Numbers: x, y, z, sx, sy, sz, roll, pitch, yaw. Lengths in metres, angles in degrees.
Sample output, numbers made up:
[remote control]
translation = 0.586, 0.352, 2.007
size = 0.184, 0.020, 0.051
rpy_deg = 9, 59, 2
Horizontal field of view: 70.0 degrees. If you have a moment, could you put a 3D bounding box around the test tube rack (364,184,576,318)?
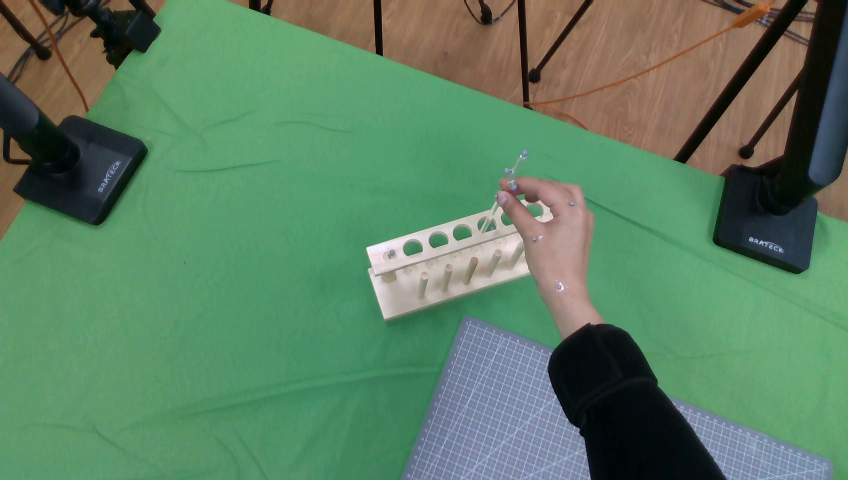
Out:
[test tube rack]
translation = 0.057, 0.014, 0.705
size = 0.243, 0.085, 0.066
rpy_deg = -17, 71, -10

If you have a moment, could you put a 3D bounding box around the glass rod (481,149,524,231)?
[glass rod]
translation = 0.076, -0.041, 0.619
size = 0.008, 0.200, 0.008
rpy_deg = 2, 68, -5
